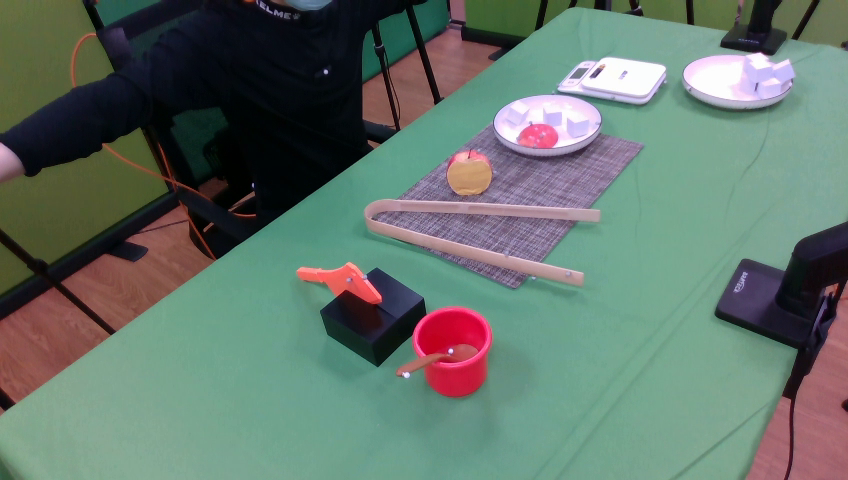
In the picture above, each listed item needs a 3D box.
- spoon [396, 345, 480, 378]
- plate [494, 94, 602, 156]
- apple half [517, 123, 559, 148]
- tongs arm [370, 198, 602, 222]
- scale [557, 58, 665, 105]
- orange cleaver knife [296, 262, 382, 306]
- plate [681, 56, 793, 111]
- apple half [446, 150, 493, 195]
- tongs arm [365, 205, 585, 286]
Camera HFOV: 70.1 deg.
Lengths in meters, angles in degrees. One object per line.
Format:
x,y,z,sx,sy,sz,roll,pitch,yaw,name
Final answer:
0.017,0.142,0.715,0.041,0.021,0.195,22,5,27,spoon
0.240,-0.221,1.181,0.209,0.038,0.208,-4,41,4,plate
0.221,-0.207,1.161,0.081,0.033,0.081,-6,43,6,apple half
0.097,-0.048,1.009,0.386,0.028,0.028,3,46,13,tongs arm
0.407,-0.348,1.314,0.199,0.032,0.149,19,47,28,scale
-0.127,0.064,0.875,0.012,0.077,0.210,-42,21,-28,orange cleaver knife
0.636,-0.317,1.239,0.207,0.039,0.206,-4,40,4,plate
0.080,-0.124,1.065,0.081,0.075,0.053,-7,37,7,apple half
0.067,0.004,0.951,0.382,0.026,0.051,13,45,23,tongs arm
